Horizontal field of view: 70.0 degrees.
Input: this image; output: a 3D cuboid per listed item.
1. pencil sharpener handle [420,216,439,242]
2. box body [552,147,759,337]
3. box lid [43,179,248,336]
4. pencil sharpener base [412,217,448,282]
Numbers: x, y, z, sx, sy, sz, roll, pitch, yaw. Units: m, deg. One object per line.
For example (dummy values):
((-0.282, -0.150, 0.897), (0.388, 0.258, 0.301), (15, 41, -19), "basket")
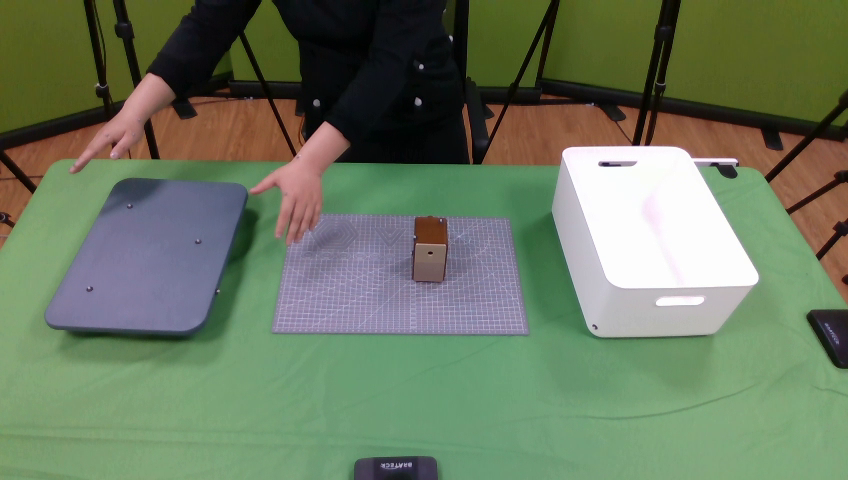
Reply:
((0.008, -0.027, 1.145), (0.036, 0.068, 0.030), (5, 45, -5), "pencil sharpener handle")
((0.401, -0.001, 1.131), (0.254, 0.161, 0.361), (-1, 46, -5), "box body")
((-0.484, 0.017, 1.093), (0.263, 0.015, 0.369), (2, 46, -2), "box lid")
((0.009, 0.017, 1.117), (0.061, 0.107, 0.076), (1, 45, -2), "pencil sharpener base")
